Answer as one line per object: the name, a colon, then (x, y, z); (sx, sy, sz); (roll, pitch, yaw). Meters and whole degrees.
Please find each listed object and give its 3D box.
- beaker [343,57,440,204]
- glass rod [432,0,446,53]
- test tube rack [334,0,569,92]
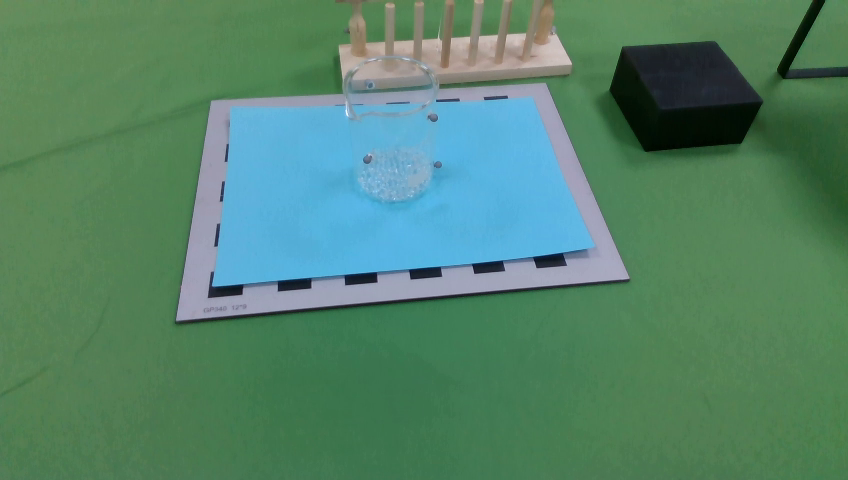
beaker: (-0.028, -0.085, 0.498); (0.073, 0.101, 0.084); (33, 56, 24)
glass rod: (0.024, -0.267, 0.582); (0.008, 0.201, 0.008); (5, 51, -6)
test tube rack: (0.032, -0.216, 0.626); (0.243, 0.086, 0.066); (-6, 50, -7)
